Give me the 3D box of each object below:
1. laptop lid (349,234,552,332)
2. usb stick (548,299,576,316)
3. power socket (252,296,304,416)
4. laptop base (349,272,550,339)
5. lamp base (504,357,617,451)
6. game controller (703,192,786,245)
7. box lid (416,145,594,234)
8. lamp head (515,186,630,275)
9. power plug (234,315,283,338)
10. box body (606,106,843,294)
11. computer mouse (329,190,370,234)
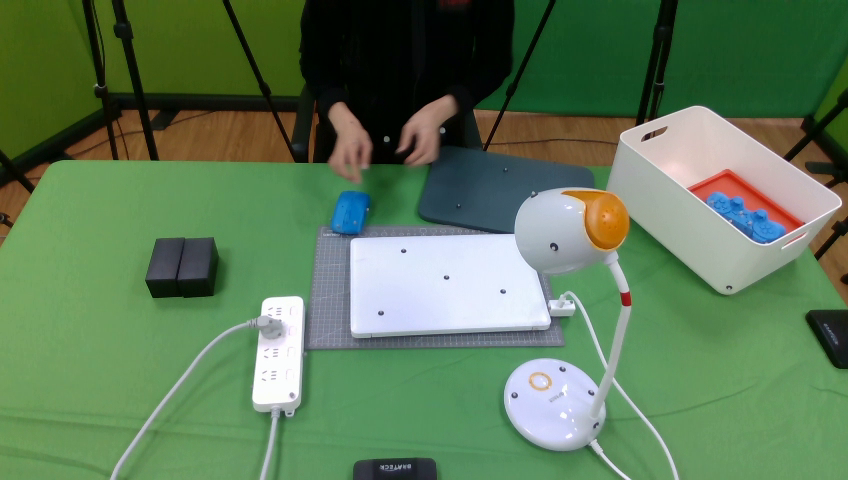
[{"bbox_3d":[0.040,0.071,1.118,0.357,0.013,0.240,0,44,-5],"label":"laptop lid"},{"bbox_3d":[0.239,0.121,1.084,0.059,0.027,0.021,-1,51,-1],"label":"usb stick"},{"bbox_3d":[-0.238,0.181,0.997,0.072,0.033,0.225,-3,47,-5],"label":"power socket"},{"bbox_3d":[0.039,0.081,1.124,0.355,0.023,0.234,-2,43,-6],"label":"laptop base"},{"bbox_3d":[0.220,0.211,0.903,0.160,0.181,0.178,-33,59,-30],"label":"lamp base"},{"bbox_3d":[0.612,-0.044,1.167,0.154,0.052,0.097,36,57,27],"label":"game controller"},{"bbox_3d":[0.186,-0.103,1.320,0.371,0.015,0.262,10,46,6],"label":"box lid"},{"bbox_3d":[0.188,-0.013,0.728,0.112,0.112,0.122,-25,9,-25],"label":"lamp head"},{"bbox_3d":[-0.269,0.143,1.000,0.072,0.053,0.035,4,47,3],"label":"power plug"},{"bbox_3d":[0.582,-0.088,1.230,0.254,0.161,0.361,-22,52,-23],"label":"box body"},{"bbox_3d":[-0.150,-0.061,1.232,0.063,0.041,0.116,10,48,3],"label":"computer mouse"}]
